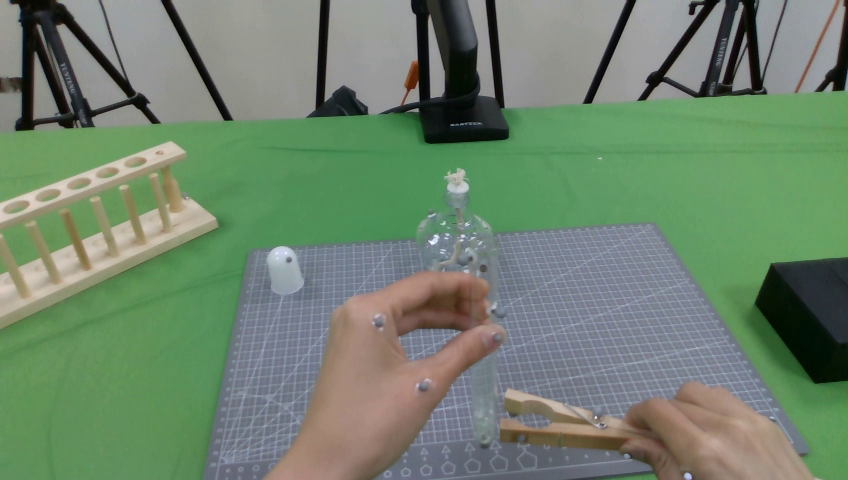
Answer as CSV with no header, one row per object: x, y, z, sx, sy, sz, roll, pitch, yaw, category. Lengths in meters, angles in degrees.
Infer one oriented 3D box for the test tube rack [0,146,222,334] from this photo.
-0.338,-0.006,0.610,0.242,0.086,0.066,-31,46,-34,test tube rack

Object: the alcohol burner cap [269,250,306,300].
-0.134,0.031,0.592,0.034,0.048,0.033,0,38,0,alcohol burner cap

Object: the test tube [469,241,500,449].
0.035,0.066,0.343,0.017,0.151,0.017,-3,33,2,test tube

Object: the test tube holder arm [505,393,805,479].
0.134,0.121,0.355,0.177,0.015,0.013,12,42,18,test tube holder arm

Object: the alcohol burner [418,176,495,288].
0.032,-0.012,0.588,0.078,0.120,0.077,1,39,0,alcohol burner

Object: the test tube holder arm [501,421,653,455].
0.090,0.118,0.361,0.088,0.015,0.010,2,39,6,test tube holder arm
